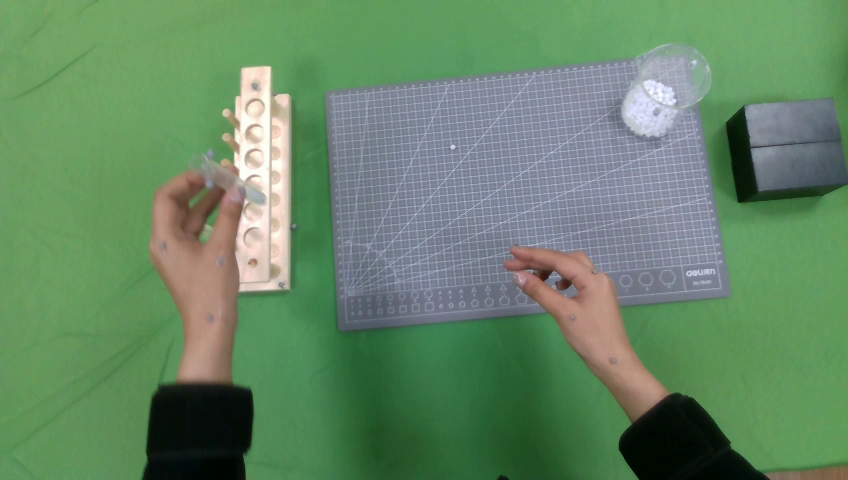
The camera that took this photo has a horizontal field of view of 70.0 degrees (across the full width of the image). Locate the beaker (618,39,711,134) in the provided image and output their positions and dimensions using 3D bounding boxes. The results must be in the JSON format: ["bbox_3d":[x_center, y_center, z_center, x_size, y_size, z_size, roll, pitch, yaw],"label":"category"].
[{"bbox_3d":[0.262,-0.169,0.683,0.083,0.101,0.074,32,82,9],"label":"beaker"}]

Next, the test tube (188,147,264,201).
[{"bbox_3d":[-0.168,-0.054,0.529,0.017,0.150,0.017,0,84,2],"label":"test tube"}]

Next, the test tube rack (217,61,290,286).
[{"bbox_3d":[-0.199,-0.073,0.698,0.067,0.085,0.241,-2,80,3],"label":"test tube rack"}]

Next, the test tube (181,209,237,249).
[{"bbox_3d":[-0.218,-0.008,0.642,0.017,0.151,0.017,-1,78,4],"label":"test tube"}]
